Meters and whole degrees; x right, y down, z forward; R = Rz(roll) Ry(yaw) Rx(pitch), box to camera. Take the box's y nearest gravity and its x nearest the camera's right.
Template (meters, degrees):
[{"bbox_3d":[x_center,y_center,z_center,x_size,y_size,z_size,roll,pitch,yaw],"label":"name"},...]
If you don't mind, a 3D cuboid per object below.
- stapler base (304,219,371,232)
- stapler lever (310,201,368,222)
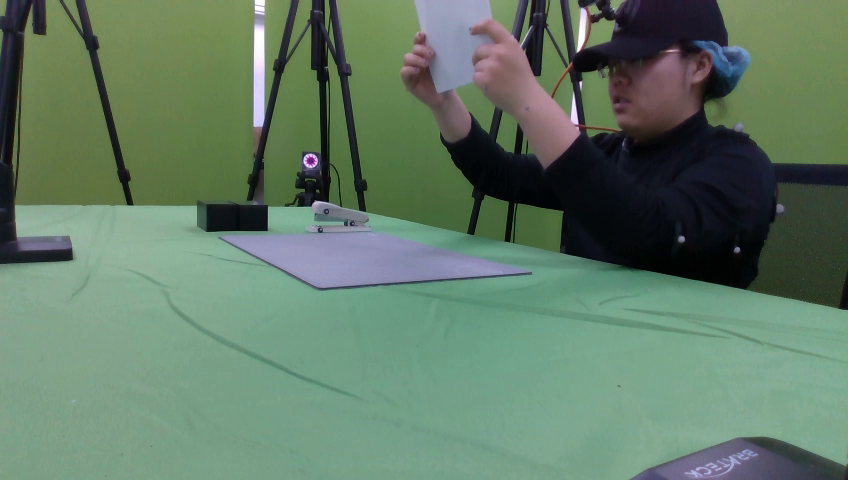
[{"bbox_3d":[-0.169,-0.030,1.186,0.131,0.024,0.041,0,9,-33],"label":"stapler base"},{"bbox_3d":[-0.166,-0.055,1.185,0.119,0.040,0.026,1,9,-33],"label":"stapler lever"}]
